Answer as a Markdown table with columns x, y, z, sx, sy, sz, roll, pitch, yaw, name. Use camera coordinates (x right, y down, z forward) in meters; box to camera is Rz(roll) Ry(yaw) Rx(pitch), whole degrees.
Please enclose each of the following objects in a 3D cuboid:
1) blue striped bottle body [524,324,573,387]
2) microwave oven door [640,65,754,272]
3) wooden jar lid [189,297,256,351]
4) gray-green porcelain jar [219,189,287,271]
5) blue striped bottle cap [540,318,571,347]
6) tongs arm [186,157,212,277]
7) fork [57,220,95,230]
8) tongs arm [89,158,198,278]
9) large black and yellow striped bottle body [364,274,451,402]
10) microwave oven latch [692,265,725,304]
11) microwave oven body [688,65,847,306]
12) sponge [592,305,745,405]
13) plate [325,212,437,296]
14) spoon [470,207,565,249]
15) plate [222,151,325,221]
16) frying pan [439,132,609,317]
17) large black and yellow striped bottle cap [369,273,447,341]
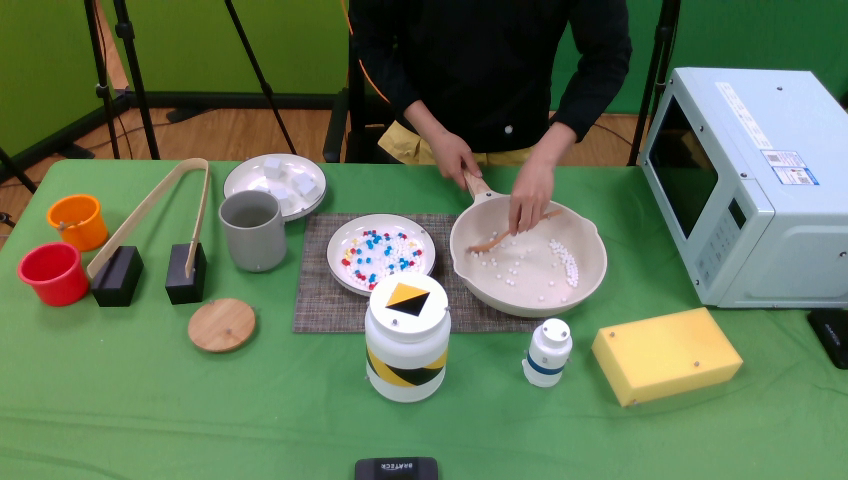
| x | y | z | sx | sy | sz | roll | pitch | yaw | name |
| --- | --- | --- | --- | --- | --- | --- | --- | --- | --- |
| 0.200 | 0.178 | 0.970 | 0.063 | 0.121 | 0.062 | 2 | 46 | -2 | blue striped bottle body |
| 0.524 | -0.147 | 1.193 | 0.039 | 0.245 | 0.353 | 0 | 47 | -3 | microwave oven door |
| -0.342 | 0.145 | 1.033 | 0.108 | 0.021 | 0.107 | 2 | 45 | -2 | wooden jar lid |
| -0.309 | -0.014 | 1.113 | 0.106 | 0.127 | 0.105 | 2 | 46 | -2 | gray-green porcelain jar |
| 0.203 | 0.142 | 0.933 | 0.044 | 0.021 | 0.044 | 3 | 49 | -3 | blue striped bottle cap |
| -0.445 | -0.058 | 1.168 | 0.051 | 0.026 | 0.382 | -5 | 37 | -6 | tongs arm |
| -0.624 | -0.027 | 1.086 | 0.028 | 0.207 | 0.018 | -3 | 92 | -17 | fork |
| -0.529 | -0.057 | 1.164 | 0.028 | 0.028 | 0.385 | 1 | 36 | 8 | tongs arm |
| -0.026 | 0.151 | 0.937 | 0.131 | 0.185 | 0.130 | 2 | 47 | -2 | large black and yellow striped bottle body |
| 0.522 | 0.081 | 1.116 | 0.030 | 0.029 | 0.078 | 1 | 46 | -2 | microwave oven latch |
| 0.669 | -0.111 | 1.176 | 0.326 | 0.261 | 0.439 | 0 | 46 | -3 | microwave oven body |
| 0.405 | 0.190 | 1.014 | 0.207 | 0.061 | 0.117 | -10 | 48 | -12 | sponge |
| -0.080 | 0.030 | 1.143 | 0.209 | 0.038 | 0.208 | 3 | 46 | -2 | plate |
| 0.178 | -0.024 | 1.160 | 0.194 | 0.042 | 0.021 | -27 | 78 | 10 | spoon |
| -0.310 | -0.106 | 1.263 | 0.208 | 0.039 | 0.206 | 2 | 47 | -2 | plate |
| 0.149 | -0.049 | 1.190 | 0.307 | 0.103 | 0.484 | -17 | 58 | -20 | frying pan |
| -0.023 | 0.094 | 0.875 | 0.115 | 0.019 | 0.114 | 2 | 45 | -2 | large black and yellow striped bottle cap |
